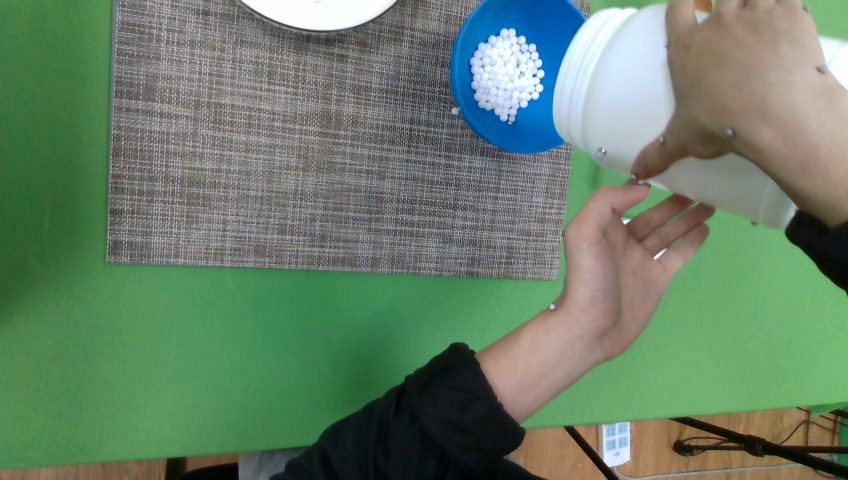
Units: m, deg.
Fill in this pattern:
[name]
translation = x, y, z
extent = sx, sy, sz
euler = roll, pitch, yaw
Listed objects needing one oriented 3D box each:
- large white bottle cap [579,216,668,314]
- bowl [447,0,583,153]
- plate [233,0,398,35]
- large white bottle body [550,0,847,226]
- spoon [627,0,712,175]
[large white bottle cap]
translation = 0.232, 0.030, 0.701
extent = 0.115, 0.018, 0.115
euler = -3, 99, -20
[bowl]
translation = 0.084, -0.160, 0.587
extent = 0.152, 0.076, 0.151
euler = -3, 99, -18
[plate]
translation = -0.102, -0.282, 0.527
extent = 0.210, 0.038, 0.209
euler = -2, 95, -19
[large white bottle body]
translation = 0.200, -0.101, 0.449
extent = 0.130, 0.183, 0.132
euler = -33, 137, -37
[spoon]
translation = 0.250, -0.160, 0.631
extent = 0.042, 0.021, 0.194
euler = 16, 98, -23
